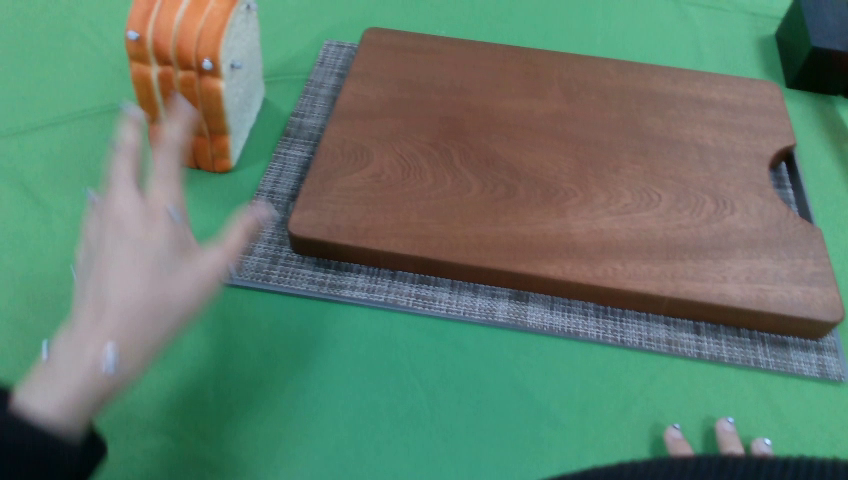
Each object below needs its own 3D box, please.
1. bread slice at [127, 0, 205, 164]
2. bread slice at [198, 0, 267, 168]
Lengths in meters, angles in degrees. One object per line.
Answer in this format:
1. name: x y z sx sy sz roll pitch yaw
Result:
1. bread slice: -0.204 -0.146 0.492 0.018 0.135 0.106 8 47 -4
2. bread slice: -0.152 -0.137 0.491 0.019 0.132 0.104 11 53 -2
